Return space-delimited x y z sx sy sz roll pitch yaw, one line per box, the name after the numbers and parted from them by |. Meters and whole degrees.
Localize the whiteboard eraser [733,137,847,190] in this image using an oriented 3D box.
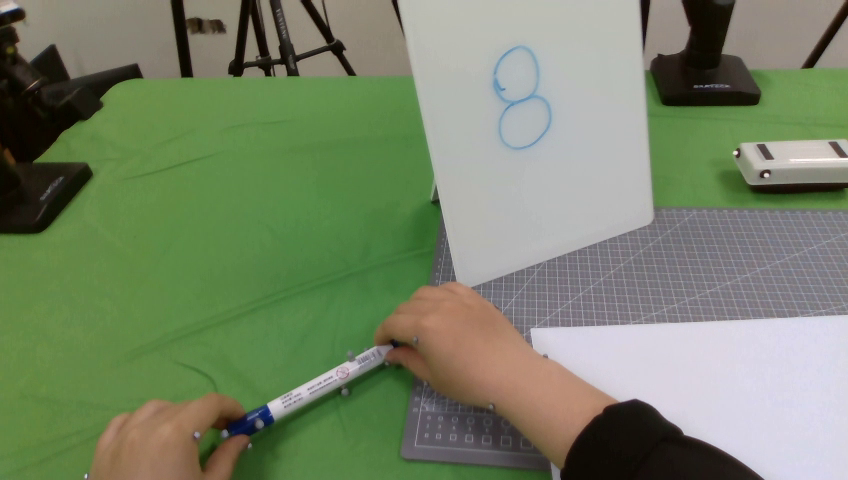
0.391 -0.080 0.636 0.112 0.042 0.055 0 44 5 | whiteboard eraser

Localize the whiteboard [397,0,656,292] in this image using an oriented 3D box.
0.082 -0.142 0.588 0.217 0.307 0.142 -18 23 -12 | whiteboard

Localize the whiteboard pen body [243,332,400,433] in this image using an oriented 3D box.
-0.080 0.113 0.483 0.141 0.017 0.017 -29 47 -23 | whiteboard pen body

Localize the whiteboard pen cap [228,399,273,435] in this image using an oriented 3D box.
-0.130 0.133 0.461 0.033 0.018 0.018 -24 45 -24 | whiteboard pen cap
